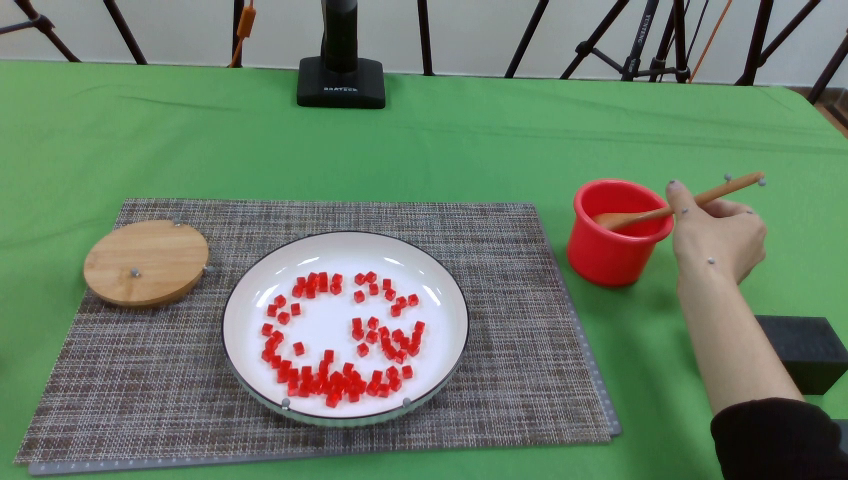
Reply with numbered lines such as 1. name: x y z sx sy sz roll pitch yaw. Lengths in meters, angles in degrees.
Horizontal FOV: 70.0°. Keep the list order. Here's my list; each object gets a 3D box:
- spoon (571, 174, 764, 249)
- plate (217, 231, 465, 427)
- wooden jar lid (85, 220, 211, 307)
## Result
1. spoon: 0.232 -0.028 0.598 0.193 0.022 0.041 -18 27 33
2. plate: -0.069 0.074 0.528 0.208 0.039 0.205 4 43 -4
3. wooden jar lid: -0.257 0.023 0.570 0.108 0.021 0.107 5 42 -4
